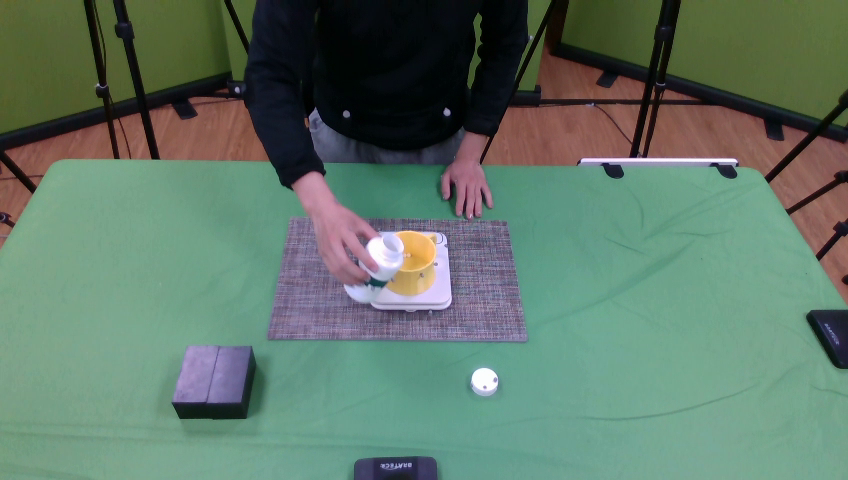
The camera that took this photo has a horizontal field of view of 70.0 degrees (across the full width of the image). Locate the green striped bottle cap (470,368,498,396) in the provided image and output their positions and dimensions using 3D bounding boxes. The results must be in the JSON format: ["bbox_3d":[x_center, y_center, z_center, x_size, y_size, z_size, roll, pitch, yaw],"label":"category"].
[{"bbox_3d":[0.098,0.231,0.989,0.044,0.020,0.044,2,43,-2],"label":"green striped bottle cap"}]

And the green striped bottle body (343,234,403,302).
[{"bbox_3d":[-0.077,0.042,0.958,0.063,0.119,0.063,22,42,-21],"label":"green striped bottle body"}]

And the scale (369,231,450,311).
[{"bbox_3d":[-0.029,0.049,1.137,0.149,0.032,0.199,1,46,-4],"label":"scale"}]

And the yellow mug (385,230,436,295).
[{"bbox_3d":[-0.020,0.030,1.089,0.099,0.064,0.130,31,51,24],"label":"yellow mug"}]
